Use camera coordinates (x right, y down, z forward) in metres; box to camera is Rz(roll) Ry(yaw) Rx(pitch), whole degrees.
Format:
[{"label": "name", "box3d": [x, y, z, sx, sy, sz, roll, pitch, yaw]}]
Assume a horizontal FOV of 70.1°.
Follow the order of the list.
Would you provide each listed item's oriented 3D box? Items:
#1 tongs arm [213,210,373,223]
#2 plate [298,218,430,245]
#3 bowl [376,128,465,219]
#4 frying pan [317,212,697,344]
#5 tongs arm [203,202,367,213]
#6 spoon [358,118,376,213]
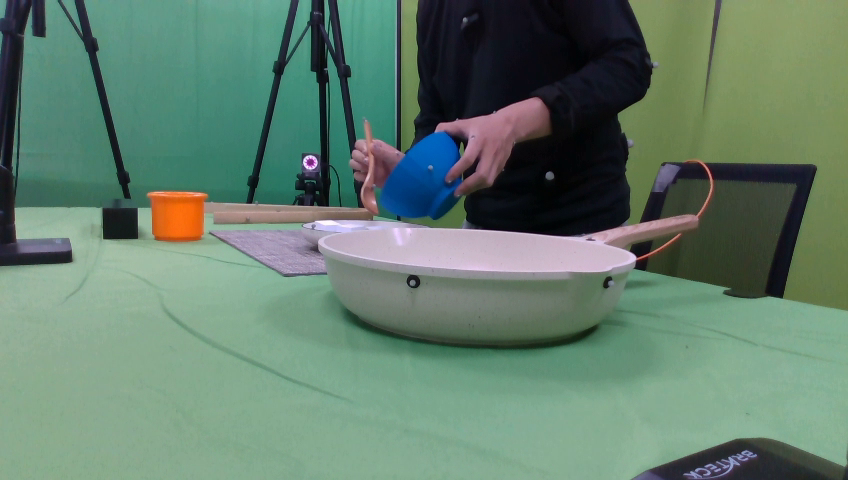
[{"label": "tongs arm", "box3d": [-0.274, -0.054, 1.347, 0.390, 0.028, 0.028, -2, 6, -37]}, {"label": "plate", "box3d": [-0.091, -0.006, 0.949, 0.208, 0.039, 0.207, 2, 7, 0]}, {"label": "bowl", "box3d": [0.009, -0.085, 0.913, 0.076, 0.151, 0.152, 43, 20, 14]}, {"label": "frying pan", "box3d": [0.133, 0.013, 0.629, 0.490, 0.102, 0.305, -12, 14, -31]}, {"label": "tongs arm", "box3d": [-0.312, -0.068, 1.418, 0.387, 0.026, 0.050, 1, 8, -24]}, {"label": "spoon", "box3d": [-0.094, -0.127, 1.004, 0.021, 0.193, 0.042, -20, -33, 28]}]
